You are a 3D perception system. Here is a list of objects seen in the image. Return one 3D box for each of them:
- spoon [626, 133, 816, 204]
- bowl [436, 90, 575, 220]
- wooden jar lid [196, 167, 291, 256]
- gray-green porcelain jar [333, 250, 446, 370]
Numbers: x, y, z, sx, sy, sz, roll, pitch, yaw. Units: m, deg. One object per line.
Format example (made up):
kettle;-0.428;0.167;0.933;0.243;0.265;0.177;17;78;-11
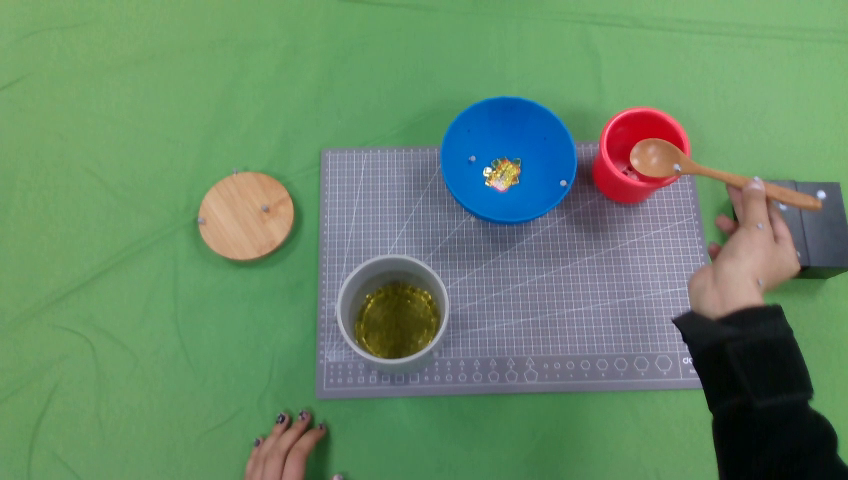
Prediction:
spoon;0.281;-0.068;0.592;0.191;0.022;0.041;33;100;50
bowl;0.089;-0.085;0.690;0.151;0.077;0.150;0;74;0
wooden jar lid;-0.209;-0.032;0.706;0.108;0.021;0.108;0;74;0
gray-green porcelain jar;-0.032;0.077;0.618;0.106;0.127;0.105;0;74;0
